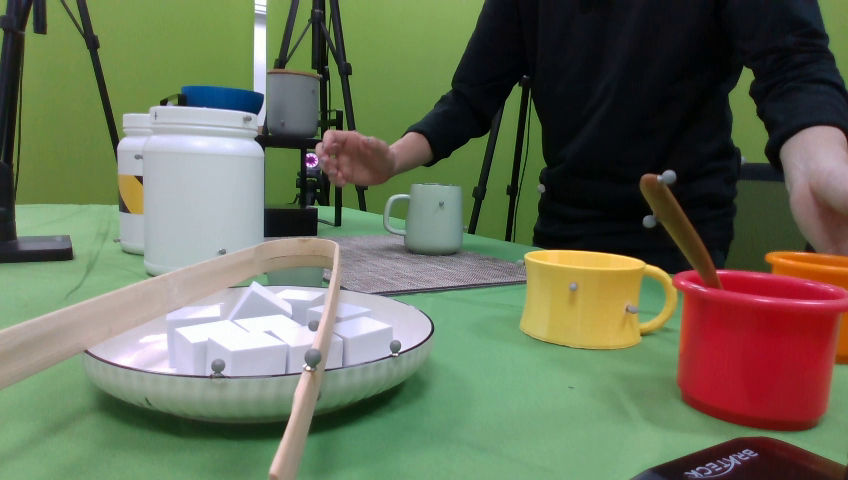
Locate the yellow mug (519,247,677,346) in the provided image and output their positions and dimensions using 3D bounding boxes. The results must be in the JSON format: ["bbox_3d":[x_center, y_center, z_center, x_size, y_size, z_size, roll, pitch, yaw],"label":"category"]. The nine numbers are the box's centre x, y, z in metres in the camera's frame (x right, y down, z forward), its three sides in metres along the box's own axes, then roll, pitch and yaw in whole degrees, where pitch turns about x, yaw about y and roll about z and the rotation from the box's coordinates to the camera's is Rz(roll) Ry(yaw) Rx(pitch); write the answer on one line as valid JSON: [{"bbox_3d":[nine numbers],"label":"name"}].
[{"bbox_3d":[0.148,0.045,0.513,0.131,0.064,0.100,3,7,0],"label":"yellow mug"}]

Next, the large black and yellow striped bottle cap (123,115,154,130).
[{"bbox_3d":[-0.353,-0.159,0.838,0.115,0.019,0.115,2,6,0],"label":"large black and yellow striped bottle cap"}]

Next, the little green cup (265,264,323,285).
[{"bbox_3d":[-0.134,0.033,0.628,0.061,0.038,0.061,3,7,0],"label":"little green cup"}]

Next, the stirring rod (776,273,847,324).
[{"bbox_3d":[0.357,0.015,0.475,0.176,0.006,0.014,-41,-11,22],"label":"stirring rod"}]

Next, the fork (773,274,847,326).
[{"bbox_3d":[0.332,0.018,0.443,0.028,0.018,0.207,-2,-35,-15],"label":"fork"}]

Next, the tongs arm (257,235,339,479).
[{"bbox_3d":[-0.074,0.040,0.345,0.051,0.026,0.384,-1,9,-3],"label":"tongs arm"}]

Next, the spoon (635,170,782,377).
[{"bbox_3d":[0.161,0.026,0.346,0.021,0.194,0.041,-51,32,-19],"label":"spoon"}]

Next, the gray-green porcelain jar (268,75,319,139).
[{"bbox_3d":[-0.277,-0.279,1.280,0.106,0.126,0.106,2,8,0],"label":"gray-green porcelain jar"}]

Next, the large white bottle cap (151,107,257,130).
[{"bbox_3d":[-0.250,-0.138,0.692,0.115,0.018,0.115,3,7,0],"label":"large white bottle cap"}]

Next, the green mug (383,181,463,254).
[{"bbox_3d":[-0.001,-0.036,0.922,0.126,0.105,0.092,0,8,-15],"label":"green mug"}]

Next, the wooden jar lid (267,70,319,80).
[{"bbox_3d":[-0.275,-0.339,1.271,0.108,0.020,0.108,5,6,0],"label":"wooden jar lid"}]

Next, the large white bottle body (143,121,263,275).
[{"bbox_3d":[-0.254,-0.054,0.702,0.131,0.184,0.130,2,8,0],"label":"large white bottle body"}]

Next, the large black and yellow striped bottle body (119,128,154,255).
[{"bbox_3d":[-0.355,-0.076,0.850,0.131,0.184,0.130,2,8,0],"label":"large black and yellow striped bottle body"}]

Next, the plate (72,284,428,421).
[{"bbox_3d":[-0.102,0.067,0.381,0.208,0.039,0.207,3,7,0],"label":"plate"}]

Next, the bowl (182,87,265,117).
[{"bbox_3d":[-0.383,-0.243,1.158,0.151,0.077,0.151,2,7,0],"label":"bowl"}]

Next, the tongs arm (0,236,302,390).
[{"bbox_3d":[-0.157,0.037,0.347,0.028,0.028,0.388,-2,8,11],"label":"tongs arm"}]
